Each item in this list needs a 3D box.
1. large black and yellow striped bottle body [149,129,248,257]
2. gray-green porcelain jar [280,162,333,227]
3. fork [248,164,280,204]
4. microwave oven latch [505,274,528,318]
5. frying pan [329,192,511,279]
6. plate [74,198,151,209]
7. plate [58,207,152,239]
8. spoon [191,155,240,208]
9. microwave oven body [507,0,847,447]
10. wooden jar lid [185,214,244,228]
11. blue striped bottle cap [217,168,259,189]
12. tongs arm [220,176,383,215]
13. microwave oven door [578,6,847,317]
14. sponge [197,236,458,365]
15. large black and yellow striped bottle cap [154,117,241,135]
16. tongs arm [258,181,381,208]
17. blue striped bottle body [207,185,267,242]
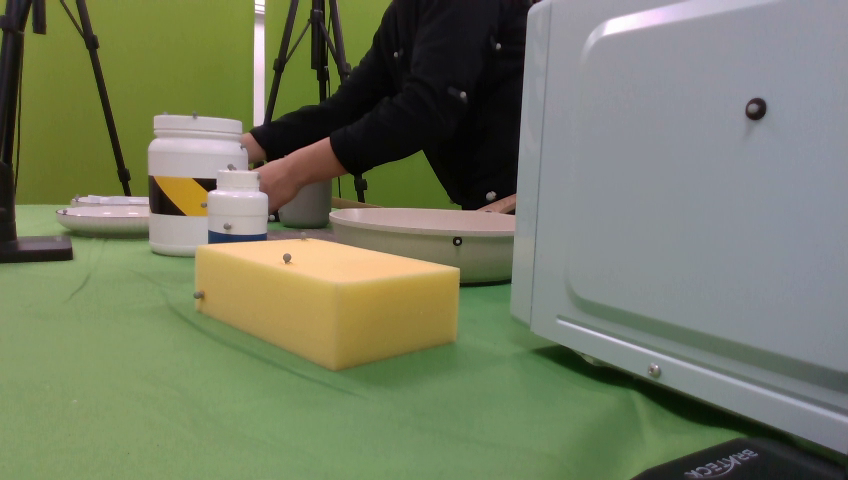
[{"bbox_3d":[-0.315,-0.075,0.854,0.131,0.184,0.130,2,8,0],"label":"large black and yellow striped bottle body"},{"bbox_3d":[-0.237,-0.092,1.221,0.106,0.126,0.106,2,7,0],"label":"gray-green porcelain jar"},{"bbox_3d":[-0.399,-0.143,1.488,0.028,0.018,0.208,23,-23,47],"label":"fork"},{"bbox_3d":[0.100,0.041,0.472,0.079,0.029,0.030,-2,8,-29],"label":"microwave oven latch"},{"bbox_3d":[0.072,-0.030,0.883,0.305,0.102,0.490,7,17,28],"label":"frying pan"},{"bbox_3d":[-0.596,-0.061,1.238,0.208,0.039,0.207,2,8,0],"label":"plate"},{"bbox_3d":[-0.496,-0.030,1.022,0.209,0.038,0.209,2,8,0],"label":"plate"},{"bbox_3d":[-0.489,-0.134,1.416,0.041,0.021,0.194,4,-36,21],"label":"spoon"},{"bbox_3d":[0.331,-0.042,0.425,0.444,0.260,0.324,-2,8,-31],"label":"microwave oven body"},{"bbox_3d":[-0.404,-0.037,1.169,0.108,0.020,0.108,3,7,0],"label":"wooden jar lid"},{"bbox_3d":[-0.202,-0.067,0.657,0.044,0.020,0.044,0,11,0],"label":"blue striped bottle cap"},{"bbox_3d":[-0.285,-0.104,1.445,0.389,0.027,0.028,9,-4,-23],"label":"tongs arm"},{"bbox_3d":[0.294,-0.067,0.570,0.358,0.243,0.039,-3,9,-31],"label":"microwave oven door"},{"bbox_3d":[-0.087,0.039,0.500,0.206,0.061,0.119,8,9,44],"label":"sponge"},{"bbox_3d":[-0.314,-0.158,0.843,0.115,0.019,0.115,3,7,0],"label":"large black and yellow striped bottle cap"},{"bbox_3d":[-0.241,-0.095,1.373,0.387,0.026,0.050,9,0,-37],"label":"tongs arm"},{"bbox_3d":[-0.204,-0.016,0.663,0.063,0.120,0.063,2,7,0],"label":"blue striped bottle body"}]
